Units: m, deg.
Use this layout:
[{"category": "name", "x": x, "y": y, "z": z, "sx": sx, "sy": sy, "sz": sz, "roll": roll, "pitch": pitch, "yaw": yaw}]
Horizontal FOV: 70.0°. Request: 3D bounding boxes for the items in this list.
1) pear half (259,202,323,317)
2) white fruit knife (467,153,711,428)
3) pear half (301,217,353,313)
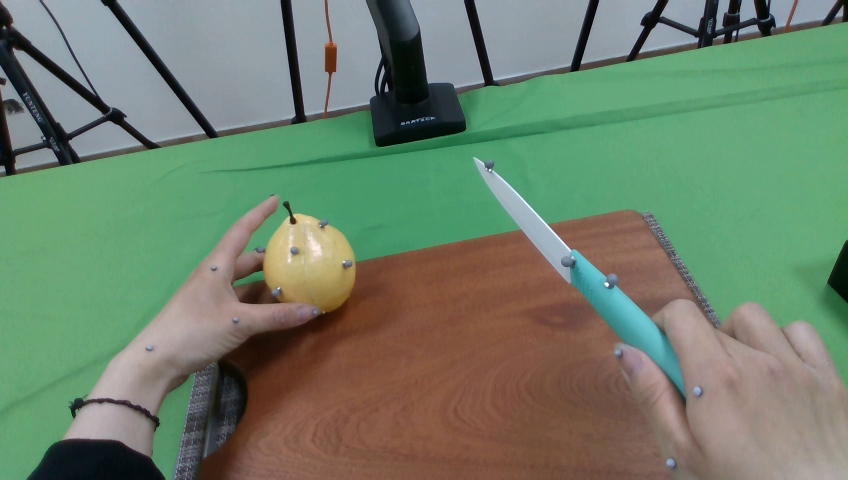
[{"category": "pear half", "x": -0.115, "y": 0.012, "z": 0.514, "sx": 0.056, "sy": 0.111, "sz": 0.075, "roll": -3, "pitch": 37, "yaw": 7}, {"category": "white fruit knife", "x": 0.086, "y": 0.018, "z": 0.350, "sx": 0.016, "sy": 0.027, "sz": 0.205, "roll": -25, "pitch": 62, "yaw": -28}, {"category": "pear half", "x": -0.078, "y": 0.019, "z": 0.514, "sx": 0.031, "sy": 0.089, "sz": 0.070, "roll": -6, "pitch": 33, "yaw": 7}]
